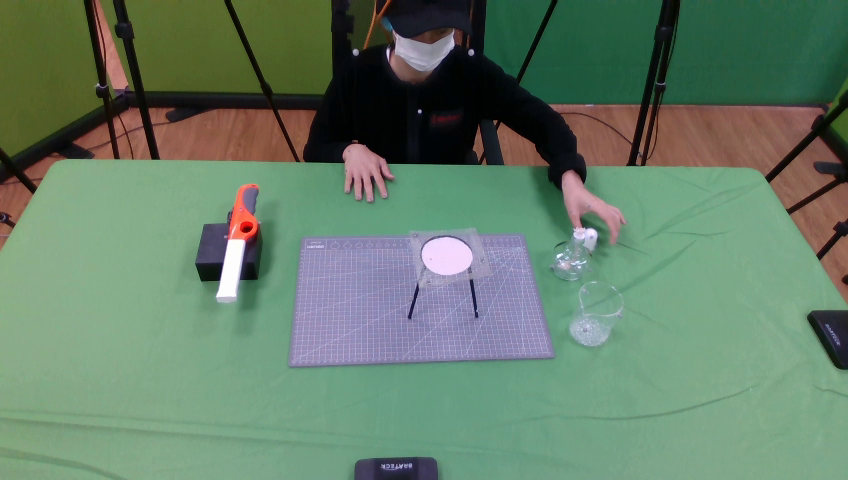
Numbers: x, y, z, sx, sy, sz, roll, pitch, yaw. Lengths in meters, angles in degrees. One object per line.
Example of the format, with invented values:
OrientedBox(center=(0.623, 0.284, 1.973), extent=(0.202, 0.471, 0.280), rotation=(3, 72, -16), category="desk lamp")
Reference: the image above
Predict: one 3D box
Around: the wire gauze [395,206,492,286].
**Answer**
OrientedBox(center=(0.031, 0.010, 0.993), extent=(0.125, 0.011, 0.120), rotation=(-25, 57, -17), category="wire gauze")

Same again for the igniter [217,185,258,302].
OrientedBox(center=(-0.339, -0.003, 1.106), extent=(0.057, 0.025, 0.274), rotation=(1, 49, -6), category="igniter")

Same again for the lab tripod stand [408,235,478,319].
OrientedBox(center=(0.032, 0.065, 1.057), extent=(0.148, 0.132, 0.147), rotation=(1, 45, -1), category="lab tripod stand")

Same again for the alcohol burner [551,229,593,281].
OrientedBox(center=(0.281, 0.021, 1.137), extent=(0.078, 0.120, 0.077), rotation=(1, 48, -1), category="alcohol burner")

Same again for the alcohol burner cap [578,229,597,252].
OrientedBox(center=(0.330, -0.002, 1.212), extent=(0.034, 0.048, 0.033), rotation=(3, 48, -3), category="alcohol burner cap")

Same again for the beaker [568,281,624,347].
OrientedBox(center=(0.290, 0.132, 1.041), extent=(0.084, 0.101, 0.073), rotation=(-34, 57, -31), category="beaker")
